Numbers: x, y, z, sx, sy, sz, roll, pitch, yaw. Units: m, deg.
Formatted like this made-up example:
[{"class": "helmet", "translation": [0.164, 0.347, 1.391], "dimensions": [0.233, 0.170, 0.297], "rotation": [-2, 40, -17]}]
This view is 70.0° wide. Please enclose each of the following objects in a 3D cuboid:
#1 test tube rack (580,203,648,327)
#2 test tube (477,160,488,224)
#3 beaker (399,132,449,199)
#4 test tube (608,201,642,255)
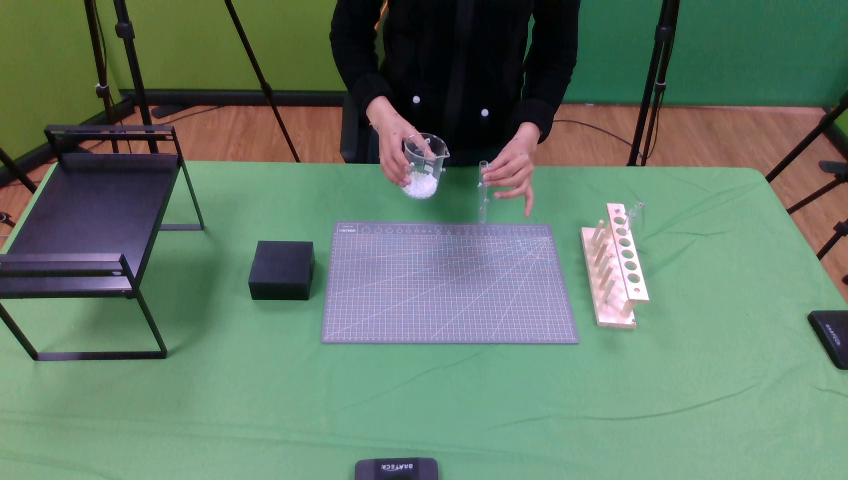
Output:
[{"class": "test tube rack", "translation": [0.352, 0.041, 1.143], "dimensions": [0.067, 0.085, 0.241], "rotation": [4, 46, 0]}, {"class": "test tube", "translation": [0.107, -0.085, 1.113], "dimensions": [0.017, 0.151, 0.017], "rotation": [-2, 46, 2]}, {"class": "beaker", "translation": [-0.003, -0.129, 1.078], "dimensions": [0.084, 0.101, 0.073], "rotation": [18, 45, 5]}, {"class": "test tube", "translation": [0.373, -0.019, 1.133], "dimensions": [0.017, 0.151, 0.017], "rotation": [3, 52, -4]}]
